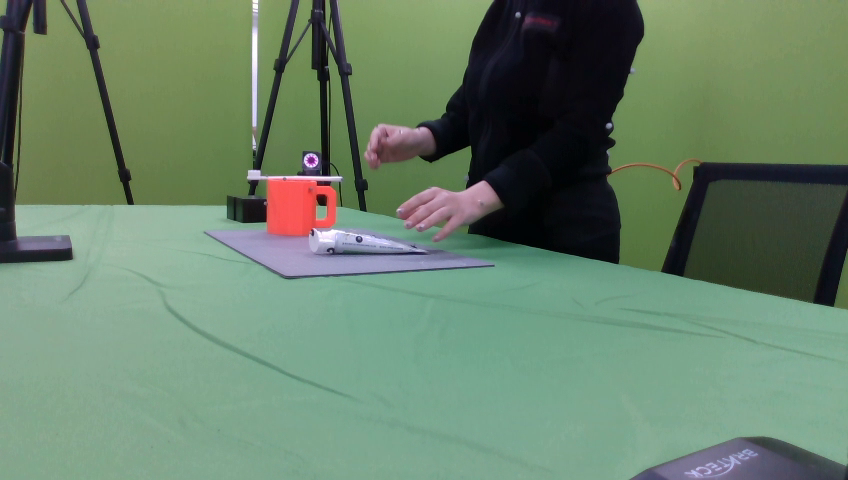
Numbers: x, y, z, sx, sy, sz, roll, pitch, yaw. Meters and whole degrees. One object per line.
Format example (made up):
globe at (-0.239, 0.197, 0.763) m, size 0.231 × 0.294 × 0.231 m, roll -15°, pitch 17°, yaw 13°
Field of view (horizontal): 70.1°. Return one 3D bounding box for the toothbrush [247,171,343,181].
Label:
toothbrush at (-0.230, -0.115, 1.092) m, size 0.183 × 0.016 × 0.014 m, roll -2°, pitch 5°, yaw -35°

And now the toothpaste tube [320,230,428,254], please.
toothpaste tube at (-0.078, 0.006, 0.891) m, size 0.166 × 0.034 × 0.055 m, roll 4°, pitch 11°, yaw -26°

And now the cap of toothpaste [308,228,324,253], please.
cap of toothpaste at (-0.153, 0.001, 0.857) m, size 0.011 × 0.037 × 0.037 m, roll -5°, pitch 10°, yaw -36°

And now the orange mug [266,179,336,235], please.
orange mug at (-0.222, -0.062, 1.094) m, size 0.127 × 0.101 × 0.083 m, roll -5°, pitch 10°, yaw -22°
